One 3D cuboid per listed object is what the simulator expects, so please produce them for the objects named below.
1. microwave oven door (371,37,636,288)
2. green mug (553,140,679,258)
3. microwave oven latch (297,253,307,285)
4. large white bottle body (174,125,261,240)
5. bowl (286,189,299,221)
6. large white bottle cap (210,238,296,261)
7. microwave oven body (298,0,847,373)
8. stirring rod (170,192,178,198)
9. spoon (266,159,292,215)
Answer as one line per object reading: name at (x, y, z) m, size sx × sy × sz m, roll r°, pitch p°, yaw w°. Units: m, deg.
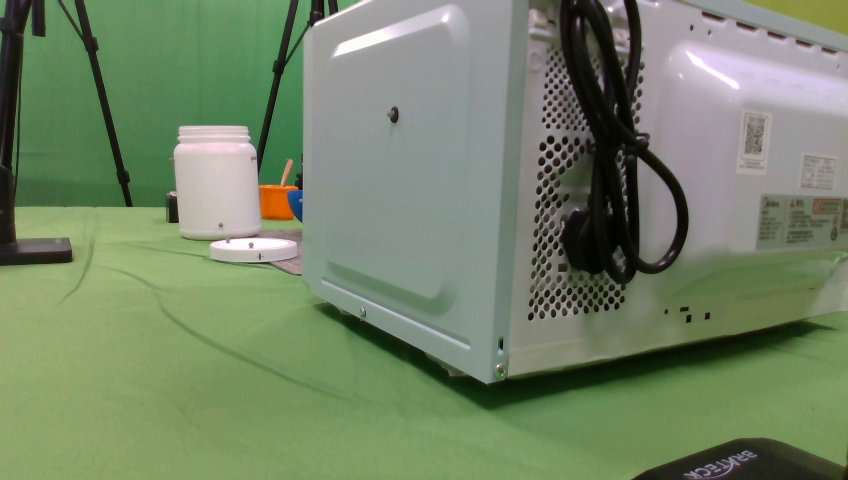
microwave oven door at (0.109, -0.080, 0.686) m, size 0.358 × 0.243 × 0.039 m, roll -2°, pitch 9°, yaw -33°
green mug at (0.179, -0.037, 0.582) m, size 0.124 × 0.105 × 0.093 m, roll 2°, pitch 2°, yaw 44°
microwave oven latch at (-0.082, 0.027, 0.582) m, size 0.079 × 0.029 × 0.030 m, roll -1°, pitch 7°, yaw -32°
large white bottle body at (-0.349, -0.100, 1.024) m, size 0.131 × 0.184 × 0.130 m, roll -1°, pitch 9°, yaw 0°
bowl at (-0.179, -0.051, 1.115) m, size 0.151 × 0.077 × 0.151 m, roll 3°, pitch 8°, yaw 0°
large white bottle cap at (-0.236, 0.012, 0.839) m, size 0.115 × 0.018 × 0.115 m, roll 2°, pitch 7°, yaw 0°
microwave oven body at (0.151, -0.055, 0.543) m, size 0.444 × 0.260 × 0.324 m, roll -1°, pitch 8°, yaw -33°
stirring rod at (-0.465, -0.098, 1.283) m, size 0.014 × 0.006 × 0.177 m, roll 42°, pitch 21°, yaw 17°
spoon at (-0.333, -0.127, 1.424) m, size 0.041 × 0.193 × 0.022 m, roll 0°, pitch -38°, yaw 7°
